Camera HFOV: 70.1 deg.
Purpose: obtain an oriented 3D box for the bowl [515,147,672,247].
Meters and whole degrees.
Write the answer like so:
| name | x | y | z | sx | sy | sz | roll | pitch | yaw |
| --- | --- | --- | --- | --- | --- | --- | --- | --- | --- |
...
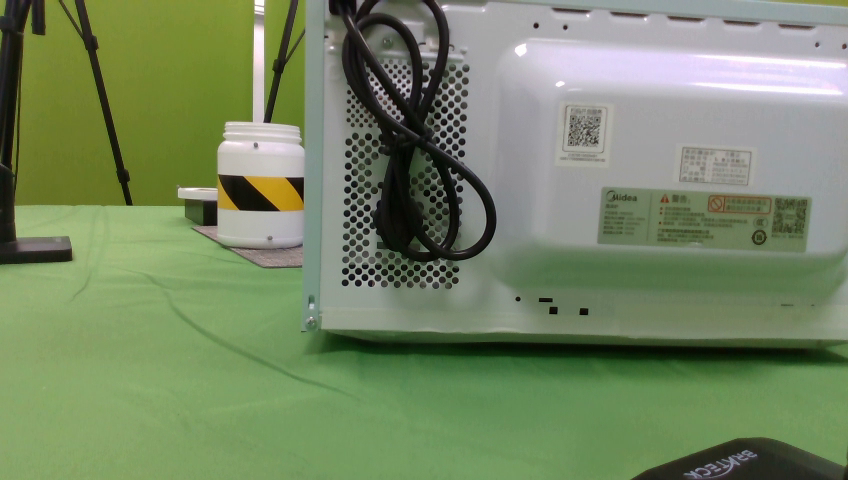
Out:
| name | x | y | z | sx | sy | sz | roll | pitch | yaw |
| --- | --- | --- | --- | --- | --- | --- | --- | --- | --- |
| bowl | 0.161 | -0.036 | 0.598 | 0.151 | 0.076 | 0.151 | 7 | -3 | 1 |

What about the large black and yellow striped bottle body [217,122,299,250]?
| name | x | y | z | sx | sy | sz | roll | pitch | yaw |
| --- | --- | --- | --- | --- | --- | --- | --- | --- | --- |
| large black and yellow striped bottle body | -0.250 | -0.084 | 0.931 | 0.131 | 0.184 | 0.130 | 3 | 7 | 0 |

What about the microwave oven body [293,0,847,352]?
| name | x | y | z | sx | sy | sz | roll | pitch | yaw |
| --- | --- | --- | --- | --- | --- | --- | --- | --- | --- |
| microwave oven body | 0.122 | -0.055 | 0.550 | 0.442 | 0.260 | 0.325 | 3 | 7 | -5 |

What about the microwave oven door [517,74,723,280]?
| name | x | y | z | sx | sy | sz | roll | pitch | yaw |
| --- | --- | --- | --- | --- | --- | --- | --- | --- | --- |
| microwave oven door | 0.252 | -0.094 | 0.861 | 0.039 | 0.243 | 0.354 | -1 | 8 | -26 |

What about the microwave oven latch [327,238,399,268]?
| name | x | y | z | sx | sy | sz | roll | pitch | yaw |
| --- | --- | --- | --- | --- | --- | --- | --- | --- | --- |
| microwave oven latch | -0.069 | 0.015 | 0.694 | 0.079 | 0.029 | 0.030 | 3 | 7 | -3 |

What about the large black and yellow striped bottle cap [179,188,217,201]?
| name | x | y | z | sx | sy | sz | roll | pitch | yaw |
| --- | --- | --- | --- | --- | --- | --- | --- | --- | --- |
| large black and yellow striped bottle cap | -0.434 | -0.093 | 1.226 | 0.115 | 0.019 | 0.115 | 3 | 9 | 0 |
